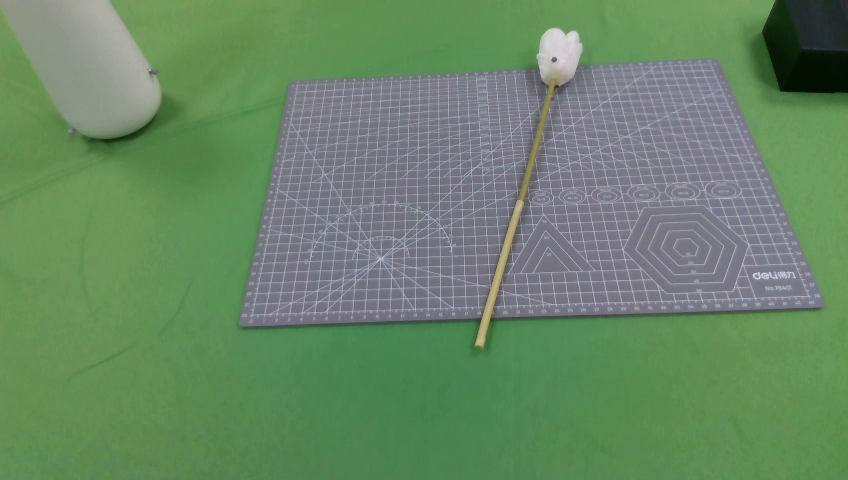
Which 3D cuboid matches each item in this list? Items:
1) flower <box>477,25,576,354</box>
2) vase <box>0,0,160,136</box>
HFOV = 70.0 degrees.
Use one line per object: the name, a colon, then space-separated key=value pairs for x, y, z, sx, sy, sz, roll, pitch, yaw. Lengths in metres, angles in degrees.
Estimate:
flower: x=0.092 y=-0.064 z=0.546 sx=0.044 sy=0.038 sz=0.359 roll=29 pitch=59 yaw=-20
vase: x=-0.324 y=-0.193 z=0.558 sx=0.098 sy=0.202 sz=0.097 roll=-2 pitch=52 yaw=2
